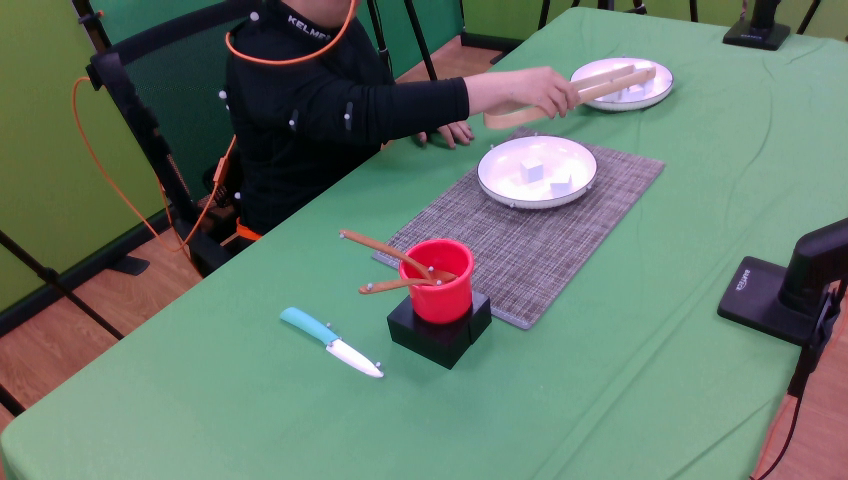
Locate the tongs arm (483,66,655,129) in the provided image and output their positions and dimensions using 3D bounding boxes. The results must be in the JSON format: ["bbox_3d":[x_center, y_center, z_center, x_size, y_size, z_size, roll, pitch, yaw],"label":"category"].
[{"bbox_3d":[0.286,-0.279,1.161,0.386,0.026,0.050,-23,41,-22],"label":"tongs arm"}]

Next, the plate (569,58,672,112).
[{"bbox_3d":[0.411,-0.323,1.274,0.209,0.038,0.208,-5,41,5],"label":"plate"}]

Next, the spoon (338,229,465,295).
[{"bbox_3d":[-0.025,0.026,0.776,0.021,0.195,0.041,-41,34,31],"label":"spoon"}]

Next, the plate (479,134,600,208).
[{"bbox_3d":[0.202,-0.117,1.065,0.207,0.039,0.206,-5,40,5],"label":"plate"}]

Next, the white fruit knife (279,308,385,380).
[{"bbox_3d":[-0.130,0.143,0.845,0.205,0.016,0.027,25,79,32],"label":"white fruit knife"}]

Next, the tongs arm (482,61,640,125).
[{"bbox_3d":[0.273,-0.292,1.181,0.389,0.028,0.028,-21,44,-19],"label":"tongs arm"}]

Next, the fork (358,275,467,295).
[{"bbox_3d":[-0.009,0.056,0.739,0.028,0.018,0.209,48,23,26],"label":"fork"}]
